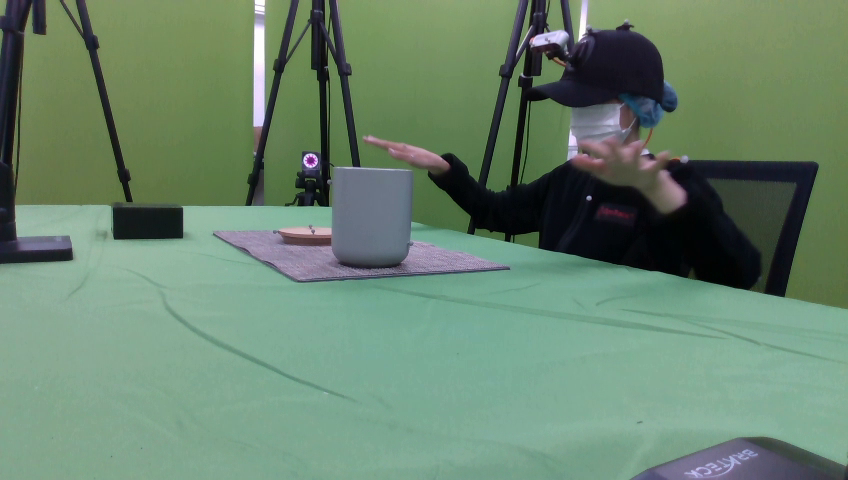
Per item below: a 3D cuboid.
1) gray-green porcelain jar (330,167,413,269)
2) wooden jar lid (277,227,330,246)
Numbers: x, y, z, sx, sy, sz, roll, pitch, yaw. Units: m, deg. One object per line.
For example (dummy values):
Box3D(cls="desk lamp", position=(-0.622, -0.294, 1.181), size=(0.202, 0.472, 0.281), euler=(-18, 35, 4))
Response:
Box3D(cls="gray-green porcelain jar", position=(-0.069, -0.030, 0.791), size=(0.106, 0.126, 0.106), euler=(3, 7, 0))
Box3D(cls="wooden jar lid", position=(-0.183, -0.006, 0.979), size=(0.108, 0.020, 0.108), euler=(3, 8, 0))
